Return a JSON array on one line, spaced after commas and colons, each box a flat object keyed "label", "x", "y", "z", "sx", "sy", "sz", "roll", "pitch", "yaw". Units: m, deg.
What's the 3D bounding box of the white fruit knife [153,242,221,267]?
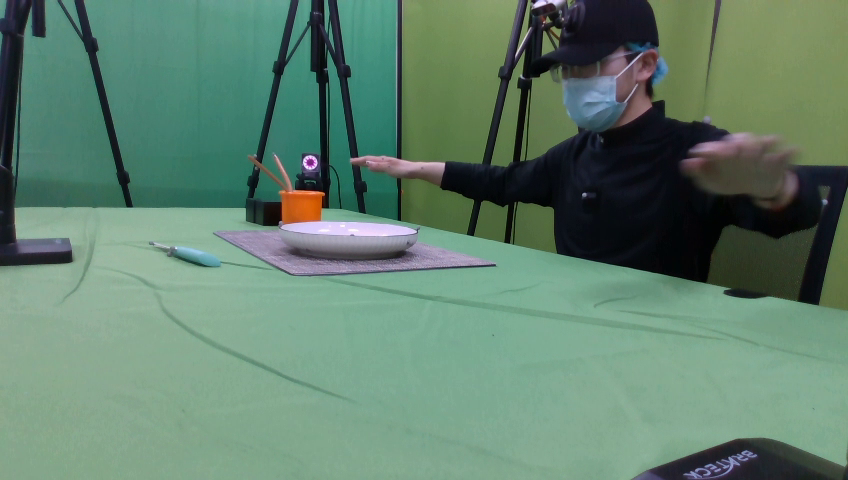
[{"label": "white fruit knife", "x": -0.335, "y": 0.016, "z": 0.832, "sx": 0.206, "sy": 0.016, "sz": 0.027, "roll": 7, "pitch": -19, "yaw": 47}]

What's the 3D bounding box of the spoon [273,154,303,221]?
[{"label": "spoon", "x": -0.280, "y": -0.107, "z": 1.247, "sx": 0.021, "sy": 0.193, "sz": 0.042, "roll": -28, "pitch": -29, "yaw": 9}]

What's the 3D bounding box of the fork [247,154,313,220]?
[{"label": "fork", "x": -0.275, "y": -0.096, "z": 1.188, "sx": 0.028, "sy": 0.018, "sz": 0.208, "roll": 28, "pitch": -20, "yaw": 48}]

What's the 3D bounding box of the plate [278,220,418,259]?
[{"label": "plate", "x": -0.114, "y": -0.002, "z": 0.914, "sx": 0.209, "sy": 0.038, "sz": 0.209, "roll": 2, "pitch": 7, "yaw": 0}]
